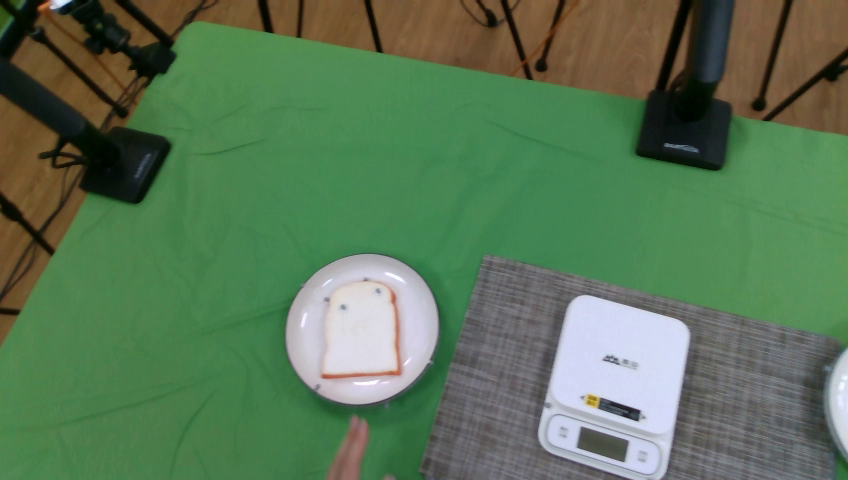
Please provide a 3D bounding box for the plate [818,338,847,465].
[{"bbox_3d":[0.555,0.198,0.686,0.207,0.039,0.206,-3,66,6],"label":"plate"}]

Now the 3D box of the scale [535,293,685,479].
[{"bbox_3d":[0.228,0.172,0.740,0.148,0.032,0.200,14,69,14],"label":"scale"}]

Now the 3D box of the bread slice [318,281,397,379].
[{"bbox_3d":[-0.090,0.118,0.809,0.105,0.019,0.130,-5,65,5],"label":"bread slice"}]

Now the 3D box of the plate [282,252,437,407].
[{"bbox_3d":[-0.084,0.118,0.807,0.209,0.038,0.207,-3,67,7],"label":"plate"}]
